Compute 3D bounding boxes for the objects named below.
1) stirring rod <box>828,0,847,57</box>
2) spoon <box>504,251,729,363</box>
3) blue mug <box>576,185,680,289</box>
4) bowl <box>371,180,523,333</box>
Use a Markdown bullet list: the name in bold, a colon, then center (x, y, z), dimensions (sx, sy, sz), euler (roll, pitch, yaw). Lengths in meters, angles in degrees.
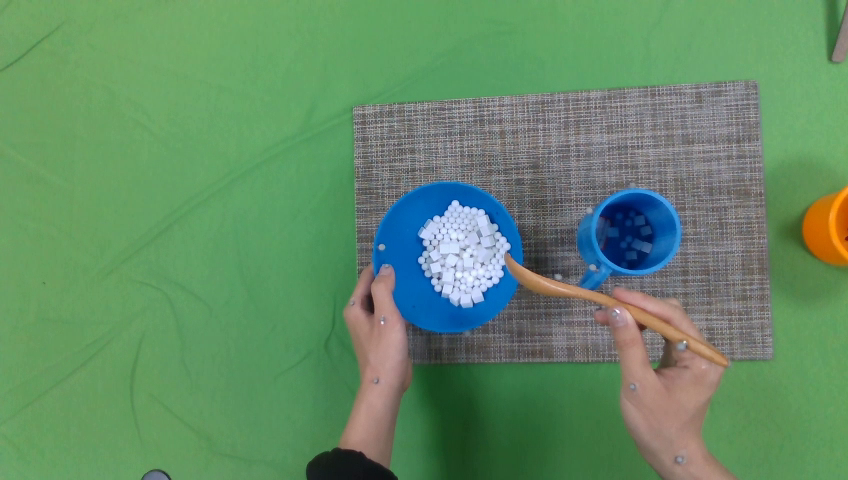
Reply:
- **stirring rod**: center (0.449, -0.280, 0.622), dimensions (0.014, 0.006, 0.177), euler (6, 110, 1)
- **spoon**: center (0.136, 0.047, 0.462), dimensions (0.192, 0.042, 0.021), euler (21, 74, 40)
- **blue mug**: center (0.193, 0.006, 0.617), dimensions (0.082, 0.106, 0.116), euler (36, 92, 7)
- **bowl**: center (0.021, 0.018, 0.628), dimensions (0.151, 0.077, 0.151), euler (0, 88, -4)
